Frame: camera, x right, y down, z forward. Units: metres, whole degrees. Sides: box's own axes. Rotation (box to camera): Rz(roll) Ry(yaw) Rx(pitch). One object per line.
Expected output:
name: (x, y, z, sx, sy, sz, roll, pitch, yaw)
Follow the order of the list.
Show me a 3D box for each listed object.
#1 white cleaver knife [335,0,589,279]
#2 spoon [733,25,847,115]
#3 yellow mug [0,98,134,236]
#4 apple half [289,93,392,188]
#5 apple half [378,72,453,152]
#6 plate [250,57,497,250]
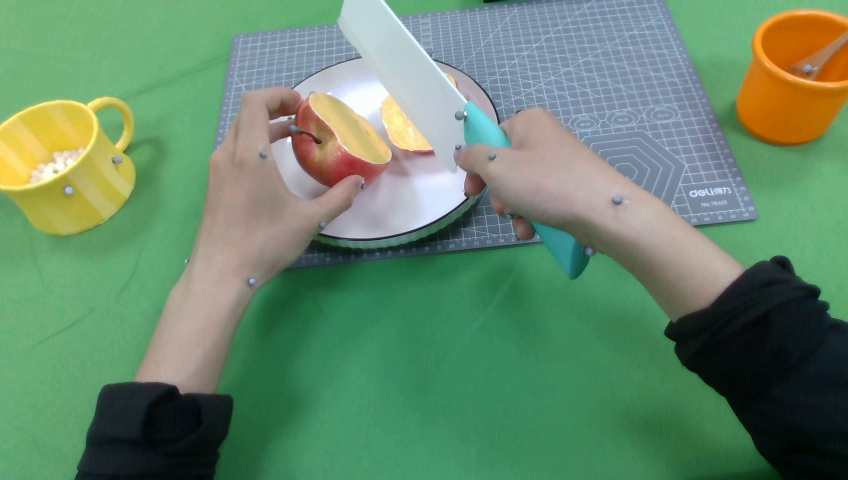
white cleaver knife: (0.016, -0.086, 0.426, 0.021, 0.066, 0.284, -24, 67, -29)
spoon: (0.335, -0.163, 0.471, 0.022, 0.194, 0.041, 20, 46, -34)
yellow mug: (-0.309, -0.074, 0.532, 0.099, 0.064, 0.130, 25, 62, 20)
apple half: (-0.072, -0.073, 0.491, 0.080, 0.053, 0.075, 46, 30, 10)
apple half: (0.000, -0.104, 0.526, 0.081, 0.033, 0.081, -4, 70, 11)
plate: (-0.042, -0.076, 0.518, 0.209, 0.038, 0.207, -3, 57, 4)
